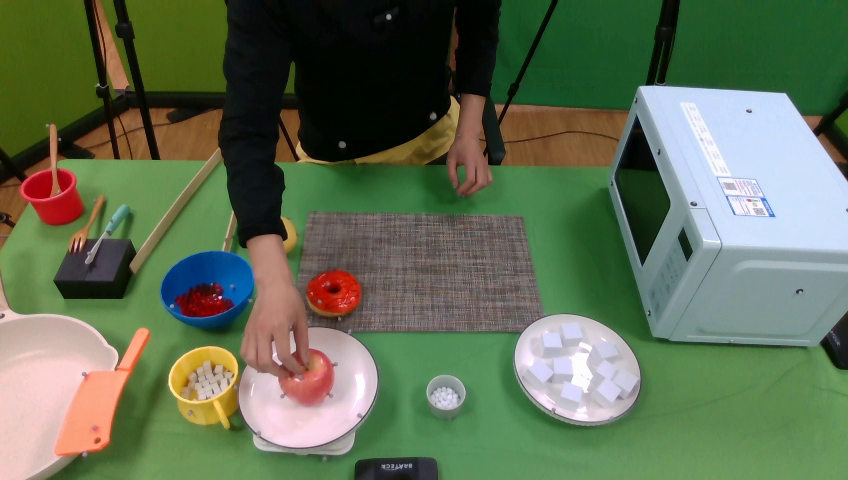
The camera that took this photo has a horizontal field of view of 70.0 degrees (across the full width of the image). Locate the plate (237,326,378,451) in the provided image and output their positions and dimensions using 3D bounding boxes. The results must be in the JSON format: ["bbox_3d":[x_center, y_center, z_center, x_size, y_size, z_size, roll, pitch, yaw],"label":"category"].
[{"bbox_3d":[-0.173,0.224,0.917,0.209,0.038,0.208,2,46,-2],"label":"plate"}]

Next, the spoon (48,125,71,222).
[{"bbox_3d":[-0.718,-0.131,1.188,0.041,0.021,0.193,-3,90,-7],"label":"spoon"}]

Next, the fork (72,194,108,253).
[{"bbox_3d":[-0.634,-0.036,1.158,0.028,0.019,0.206,-7,32,-9],"label":"fork"}]

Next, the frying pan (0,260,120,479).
[{"bbox_3d":[-0.647,0.164,0.936,0.307,0.103,0.485,-19,58,-22],"label":"frying pan"}]

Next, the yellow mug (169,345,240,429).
[{"bbox_3d":[-0.322,0.230,0.922,0.100,0.064,0.130,-24,53,-25],"label":"yellow mug"}]

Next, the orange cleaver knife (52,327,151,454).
[{"bbox_3d":[-0.462,0.212,0.879,0.077,0.012,0.210,7,45,-2],"label":"orange cleaver knife"}]

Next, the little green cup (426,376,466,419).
[{"bbox_3d":[0.033,0.248,0.950,0.061,0.039,0.061,2,46,-2],"label":"little green cup"}]

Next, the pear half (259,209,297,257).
[{"bbox_3d":[-0.273,-0.024,1.141,0.076,0.110,0.056,27,50,16],"label":"pear half"}]

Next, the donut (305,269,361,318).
[{"bbox_3d":[-0.161,0.095,1.075,0.099,0.048,0.098,4,45,-4],"label":"donut"}]

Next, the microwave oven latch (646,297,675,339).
[{"bbox_3d":[0.412,0.134,1.061,0.030,0.029,0.078,4,45,1],"label":"microwave oven latch"}]

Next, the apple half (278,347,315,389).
[{"bbox_3d":[-0.195,0.191,0.909,0.032,0.081,0.081,31,52,21],"label":"apple half"}]

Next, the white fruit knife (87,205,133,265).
[{"bbox_3d":[-0.584,-0.013,1.129,0.016,0.027,0.206,0,31,-4],"label":"white fruit knife"}]

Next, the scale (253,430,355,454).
[{"bbox_3d":[-0.175,0.236,0.951,0.149,0.032,0.199,4,45,0],"label":"scale"}]

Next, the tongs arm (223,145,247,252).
[{"bbox_3d":[-0.398,-0.072,1.232,0.051,0.026,0.382,-3,45,-1],"label":"tongs arm"}]

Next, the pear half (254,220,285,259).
[{"bbox_3d":[-0.294,0.003,1.127,0.070,0.088,0.031,26,49,16],"label":"pear half"}]

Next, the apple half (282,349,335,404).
[{"bbox_3d":[-0.163,0.210,0.895,0.053,0.075,0.081,33,51,22],"label":"apple half"}]

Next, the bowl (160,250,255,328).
[{"bbox_3d":[-0.362,0.098,1.040,0.151,0.077,0.150,2,45,-2],"label":"bowl"}]

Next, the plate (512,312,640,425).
[{"bbox_3d":[0.246,0.213,0.999,0.208,0.039,0.206,2,46,-2],"label":"plate"}]

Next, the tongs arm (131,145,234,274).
[{"bbox_3d":[-0.485,-0.076,1.235,0.028,0.028,0.385,5,44,12],"label":"tongs arm"}]

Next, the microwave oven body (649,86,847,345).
[{"bbox_3d":[0.567,-0.053,1.118,0.326,0.261,0.439,2,45,-1],"label":"microwave oven body"}]

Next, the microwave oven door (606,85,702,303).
[{"bbox_3d":[0.422,-0.094,1.140,0.039,0.245,0.353,2,46,-1],"label":"microwave oven door"}]
